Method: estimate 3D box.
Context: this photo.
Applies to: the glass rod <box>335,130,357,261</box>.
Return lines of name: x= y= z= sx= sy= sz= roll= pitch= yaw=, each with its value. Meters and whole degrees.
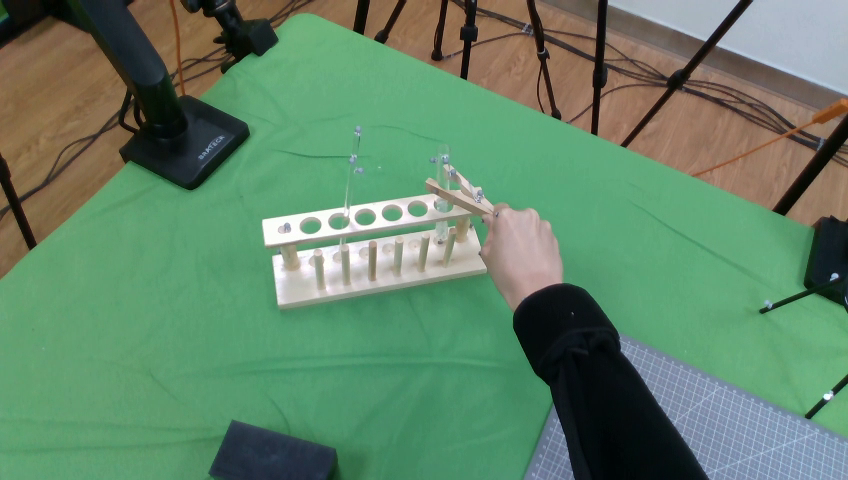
glass rod: x=-0.082 y=-0.037 z=0.627 sx=0.008 sy=0.201 sz=0.008 roll=7 pitch=51 yaw=-8

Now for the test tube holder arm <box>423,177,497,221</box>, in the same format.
test tube holder arm: x=0.038 y=-0.043 z=0.627 sx=0.087 sy=0.015 sz=0.010 roll=24 pitch=62 yaw=18

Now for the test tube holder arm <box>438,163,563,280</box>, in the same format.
test tube holder arm: x=0.074 y=-0.022 z=0.611 sx=0.013 sy=0.015 sz=0.177 roll=-37 pitch=63 yaw=-17

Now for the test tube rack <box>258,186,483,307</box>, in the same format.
test tube rack: x=-0.053 y=0.007 z=0.679 sx=0.243 sy=0.086 sz=0.066 roll=-9 pitch=59 yaw=-11

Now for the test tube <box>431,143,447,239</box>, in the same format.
test tube: x=0.016 y=-0.048 z=0.662 sx=0.017 sy=0.151 sz=0.017 roll=0 pitch=55 yaw=0

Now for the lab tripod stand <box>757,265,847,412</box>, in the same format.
lab tripod stand: x=0.441 y=0.096 z=0.636 sx=0.148 sy=0.132 sz=0.147 roll=3 pitch=59 yaw=-4
